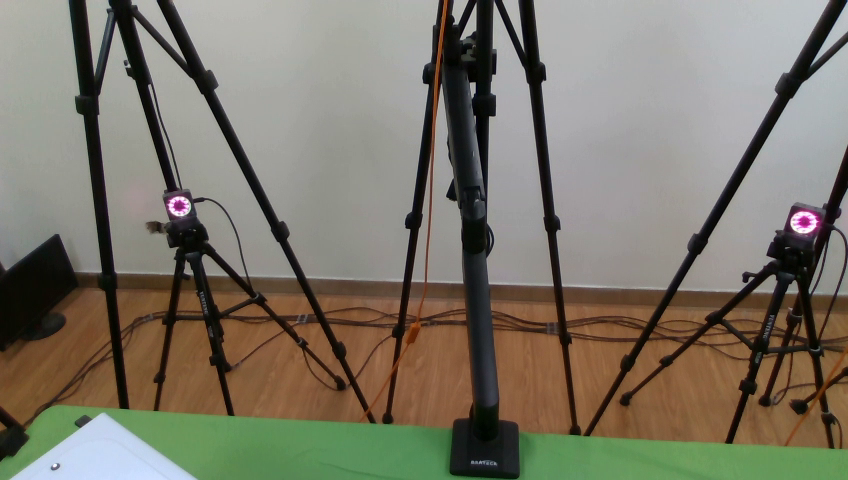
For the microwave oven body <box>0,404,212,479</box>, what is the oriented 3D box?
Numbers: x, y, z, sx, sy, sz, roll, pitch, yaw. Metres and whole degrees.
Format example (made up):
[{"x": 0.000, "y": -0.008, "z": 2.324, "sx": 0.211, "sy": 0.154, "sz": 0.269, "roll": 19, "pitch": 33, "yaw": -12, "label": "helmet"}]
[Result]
[{"x": -0.453, "y": 0.471, "z": 0.709, "sx": 0.323, "sy": 0.262, "sz": 0.441, "roll": 19, "pitch": 40, "yaw": 28, "label": "microwave oven body"}]
